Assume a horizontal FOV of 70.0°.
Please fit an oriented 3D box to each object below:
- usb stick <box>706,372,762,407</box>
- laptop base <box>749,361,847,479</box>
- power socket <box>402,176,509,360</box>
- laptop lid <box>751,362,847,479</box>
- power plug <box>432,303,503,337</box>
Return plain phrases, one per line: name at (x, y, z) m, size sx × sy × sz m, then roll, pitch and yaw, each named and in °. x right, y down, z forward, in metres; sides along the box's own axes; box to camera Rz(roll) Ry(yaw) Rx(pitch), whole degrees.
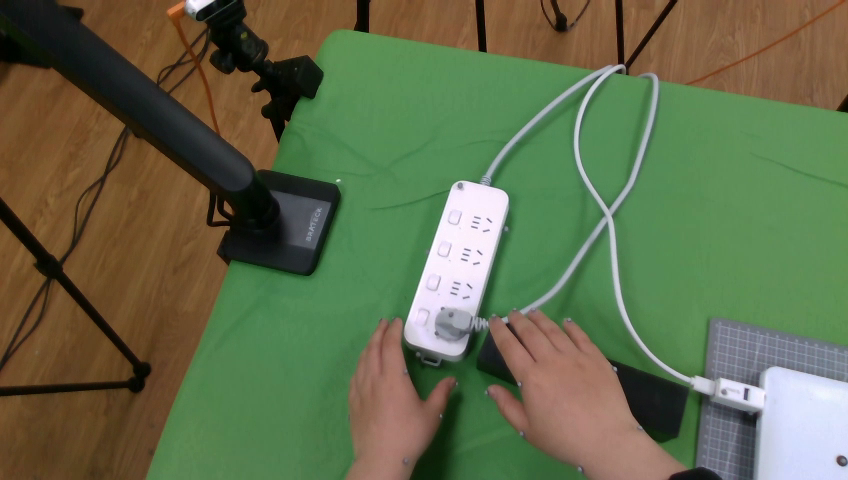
usb stick at (0.320, 0.153, 0.611) m, size 0.059 × 0.027 × 0.021 m, roll 16°, pitch 66°, yaw 6°
laptop base at (0.486, 0.268, 0.568) m, size 0.353 × 0.023 × 0.234 m, roll 13°, pitch 72°, yaw 8°
power socket at (0.038, 0.025, 0.688) m, size 0.072 × 0.033 × 0.225 m, roll 16°, pitch 68°, yaw 9°
laptop lid at (0.484, 0.266, 0.556) m, size 0.356 × 0.013 × 0.240 m, roll 14°, pitch 71°, yaw 9°
power plug at (0.042, 0.092, 0.639) m, size 0.072 × 0.053 × 0.035 m, roll 28°, pitch 70°, yaw 13°
